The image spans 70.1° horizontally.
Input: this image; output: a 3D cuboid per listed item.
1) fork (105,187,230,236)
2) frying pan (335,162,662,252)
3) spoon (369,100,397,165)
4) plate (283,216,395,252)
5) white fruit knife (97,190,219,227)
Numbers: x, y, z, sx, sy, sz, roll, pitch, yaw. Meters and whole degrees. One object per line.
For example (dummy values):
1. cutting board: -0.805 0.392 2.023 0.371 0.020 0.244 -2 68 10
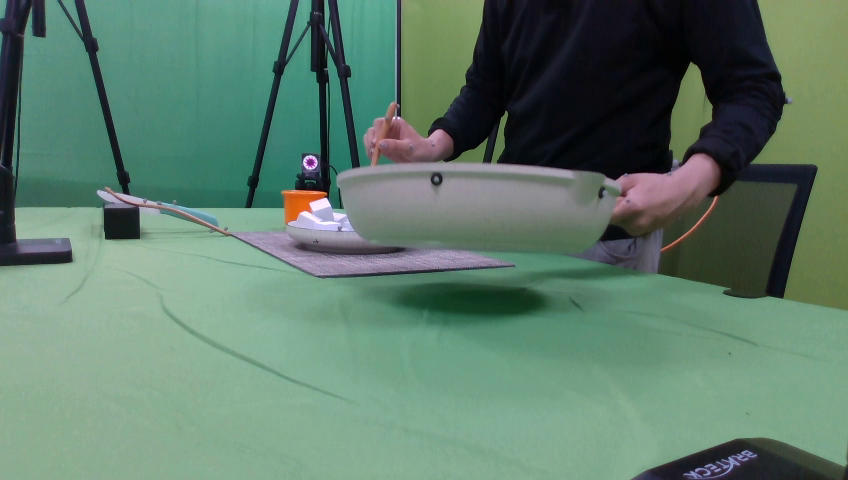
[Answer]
1. fork: -0.428 -0.047 1.021 0.208 0.018 0.028 19 -6 -26
2. frying pan: 0.135 -0.037 0.696 0.491 0.102 0.305 -7 5 -37
3. spoon: -0.079 -0.136 0.987 0.042 0.193 0.021 16 -2 -41
4. plate: -0.119 -0.010 0.968 0.208 0.039 0.207 3 7 0
5. white fruit knife: -0.468 -0.057 1.079 0.208 0.027 0.016 15 -2 -29
